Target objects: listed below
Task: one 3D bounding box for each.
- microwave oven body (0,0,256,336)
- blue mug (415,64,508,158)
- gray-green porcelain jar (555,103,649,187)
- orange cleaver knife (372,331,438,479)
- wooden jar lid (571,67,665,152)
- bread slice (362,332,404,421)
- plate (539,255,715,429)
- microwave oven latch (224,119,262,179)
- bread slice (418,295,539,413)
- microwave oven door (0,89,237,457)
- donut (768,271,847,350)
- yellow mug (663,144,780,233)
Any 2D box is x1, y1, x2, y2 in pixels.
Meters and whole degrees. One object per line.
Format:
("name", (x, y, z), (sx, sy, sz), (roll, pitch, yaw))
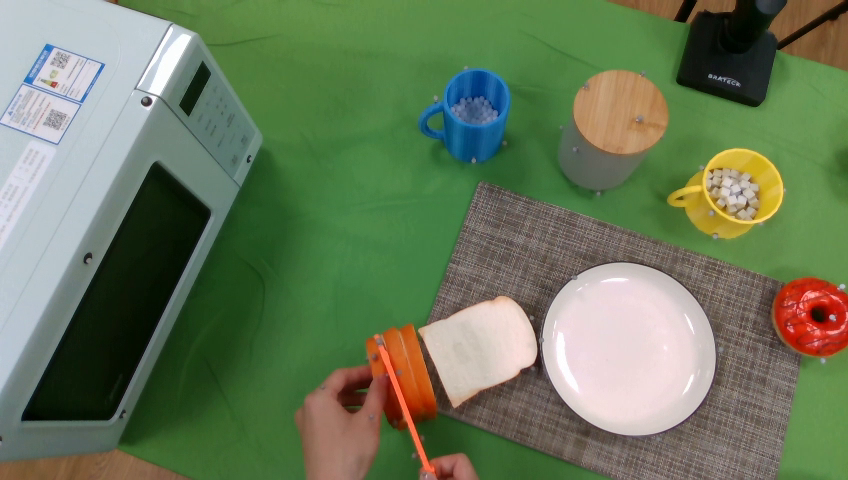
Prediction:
("microwave oven body", (-0.445, -0.037, 0.676), (0.325, 0.261, 0.440), (20, 77, 6))
("blue mug", (0.047, -0.163, 0.786), (0.116, 0.106, 0.082), (-6, 74, 0))
("gray-green porcelain jar", (0.225, -0.132, 0.765), (0.106, 0.127, 0.105), (0, 75, 1))
("orange cleaver knife", (-0.011, 0.191, 0.603), (0.012, 0.077, 0.211), (-21, 89, -9))
("wooden jar lid", (0.223, -0.150, 0.705), (0.108, 0.021, 0.107), (0, 73, 1))
("bread slice", (-0.045, 0.152, 0.693), (0.018, 0.135, 0.106), (-19, 74, -4))
("plate", (0.242, 0.123, 0.738), (0.208, 0.039, 0.206), (0, 75, 1))
("microwave oven latch", (-0.242, -0.123, 0.796), (0.030, 0.029, 0.079), (23, 77, 7))
("bread slice", (0.074, 0.133, 0.740), (0.131, 0.019, 0.104), (-30, 85, -6))
("microwave oven door", (-0.325, 0.048, 0.646), (0.039, 0.245, 0.354), (19, 76, 6))
("donut", (0.473, 0.086, 0.740), (0.099, 0.048, 0.098), (0, 76, 1))
("yellow mug", (0.373, -0.063, 0.775), (0.131, 0.064, 0.099), (-4, 75, 1))
